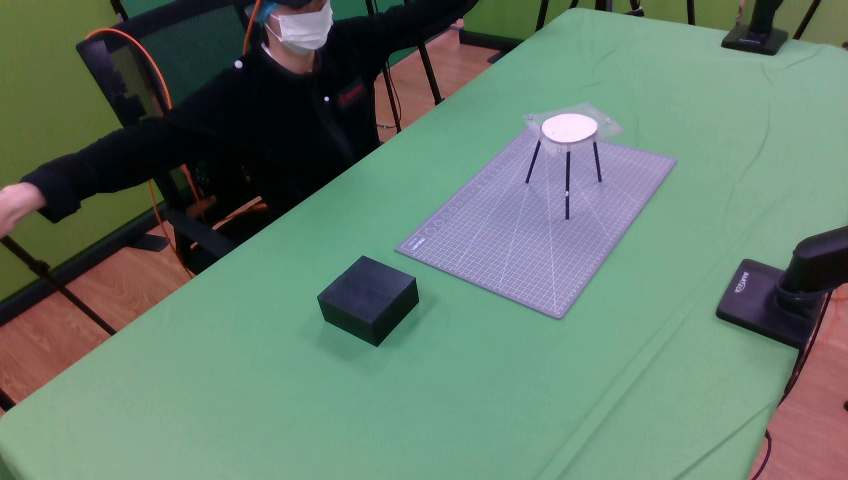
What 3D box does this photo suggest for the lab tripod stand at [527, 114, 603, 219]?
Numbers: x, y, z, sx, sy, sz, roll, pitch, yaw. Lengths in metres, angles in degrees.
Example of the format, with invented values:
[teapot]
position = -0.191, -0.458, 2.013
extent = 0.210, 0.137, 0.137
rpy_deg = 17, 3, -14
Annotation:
[lab tripod stand]
position = 0.235, -0.129, 1.002
extent = 0.148, 0.132, 0.147
rpy_deg = -6, 40, 6

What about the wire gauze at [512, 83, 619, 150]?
[wire gauze]
position = 0.221, -0.193, 0.950
extent = 0.125, 0.011, 0.120
rpy_deg = -34, 50, -17
